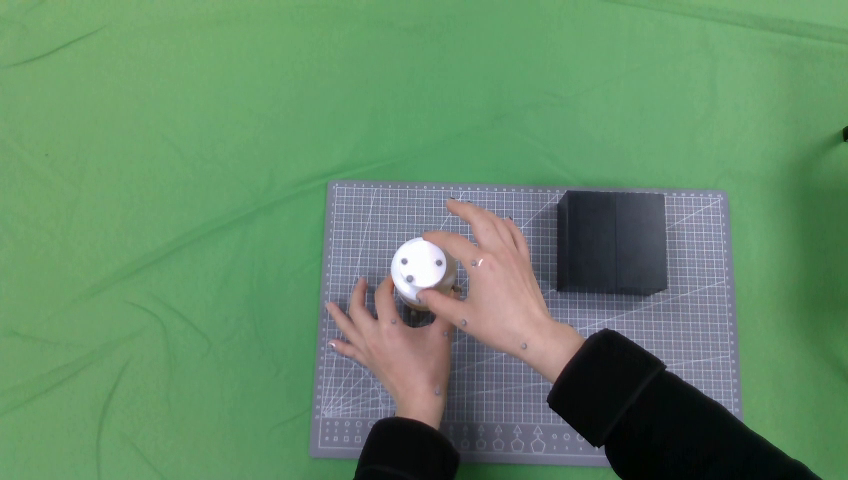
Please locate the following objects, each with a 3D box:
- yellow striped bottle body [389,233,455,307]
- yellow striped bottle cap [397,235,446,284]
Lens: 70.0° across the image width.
[{"bbox_3d":[-0.002,0.030,0.603,0.063,0.120,0.062,0,78,0],"label":"yellow striped bottle body"},{"bbox_3d":[-0.003,0.018,0.549,0.044,0.019,0.044,0,84,2],"label":"yellow striped bottle cap"}]
